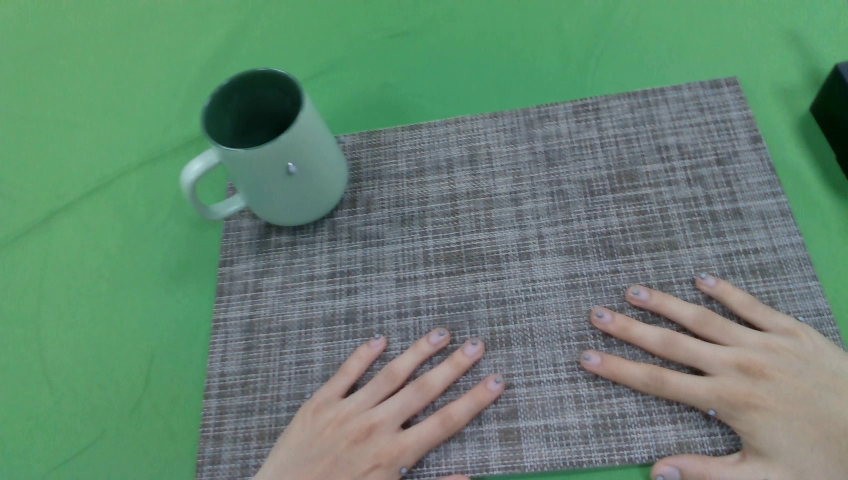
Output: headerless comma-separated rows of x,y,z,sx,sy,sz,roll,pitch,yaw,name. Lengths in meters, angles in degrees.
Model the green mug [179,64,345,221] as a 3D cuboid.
-0.131,-0.064,0.480,0.125,0.106,0.091,-36,63,-10,green mug
